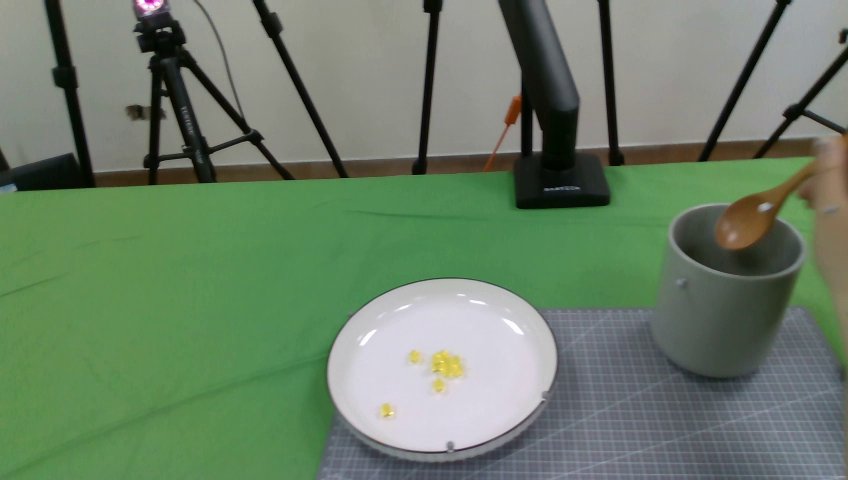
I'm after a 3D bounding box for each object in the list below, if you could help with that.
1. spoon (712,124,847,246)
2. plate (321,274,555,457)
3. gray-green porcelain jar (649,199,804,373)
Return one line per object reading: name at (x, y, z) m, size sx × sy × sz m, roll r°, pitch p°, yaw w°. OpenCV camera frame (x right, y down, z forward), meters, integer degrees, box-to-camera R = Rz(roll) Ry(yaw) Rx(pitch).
spoon at (0.272, -0.049, 0.434) m, size 0.022 × 0.195 × 0.041 m, roll 2°, pitch 64°, yaw -9°
plate at (0.013, 0.111, 0.553) m, size 0.207 × 0.039 × 0.205 m, roll -4°, pitch 37°, yaw 3°
gray-green porcelain jar at (0.257, 0.044, 0.531) m, size 0.106 × 0.127 × 0.105 m, roll -4°, pitch 37°, yaw 4°
